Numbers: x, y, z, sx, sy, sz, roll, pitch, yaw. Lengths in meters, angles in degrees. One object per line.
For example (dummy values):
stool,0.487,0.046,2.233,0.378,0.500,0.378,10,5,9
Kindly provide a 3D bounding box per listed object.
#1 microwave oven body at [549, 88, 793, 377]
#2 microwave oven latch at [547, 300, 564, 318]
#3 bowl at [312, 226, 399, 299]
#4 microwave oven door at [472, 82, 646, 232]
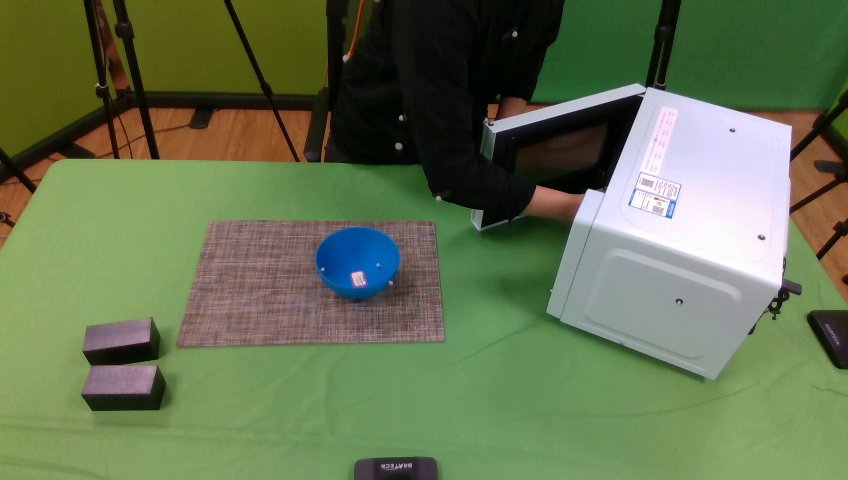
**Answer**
microwave oven body,0.456,-0.028,1.087,0.325,0.261,0.440,20,47,16
microwave oven latch,0.242,0.102,1.081,0.030,0.029,0.079,21,48,17
bowl,-0.120,0.054,1.091,0.151,0.077,0.150,2,46,-2
microwave oven door,0.266,-0.164,1.198,0.356,0.245,0.039,-19,49,-20
